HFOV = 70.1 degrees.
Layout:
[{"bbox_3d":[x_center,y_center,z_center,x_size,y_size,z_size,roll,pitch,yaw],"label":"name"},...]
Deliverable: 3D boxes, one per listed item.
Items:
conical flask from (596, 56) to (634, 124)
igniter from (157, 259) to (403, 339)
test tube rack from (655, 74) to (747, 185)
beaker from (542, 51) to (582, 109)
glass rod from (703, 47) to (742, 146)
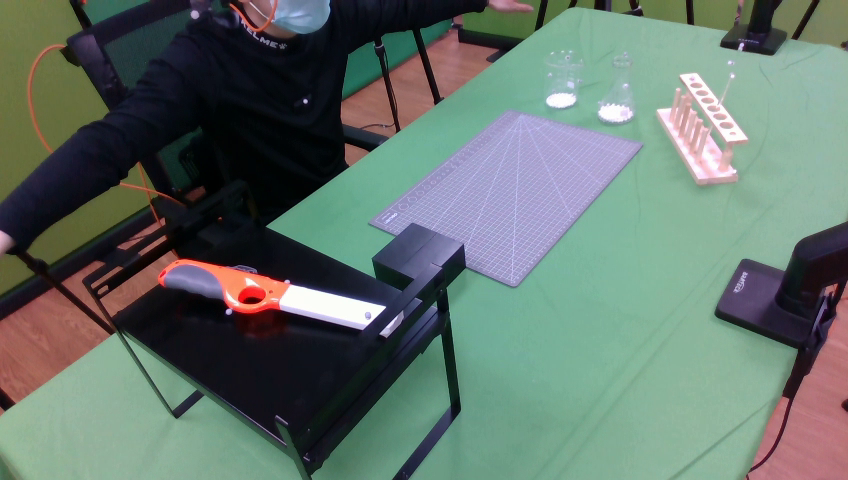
[{"bbox_3d":[0.380,-0.294,1.185,0.075,0.122,0.075,-4,41,4],"label":"conical flask"},{"bbox_3d":[-0.157,0.059,0.638,0.275,0.025,0.057,11,43,14],"label":"igniter"},{"bbox_3d":[0.491,-0.205,1.092,0.067,0.085,0.241,-5,40,3],"label":"test tube rack"},{"bbox_3d":[0.287,-0.330,1.258,0.083,0.101,0.074,21,49,28],"label":"beaker"},{"bbox_3d":[0.502,-0.237,1.027,0.008,0.200,0.008,-2,49,2],"label":"glass rod"}]
